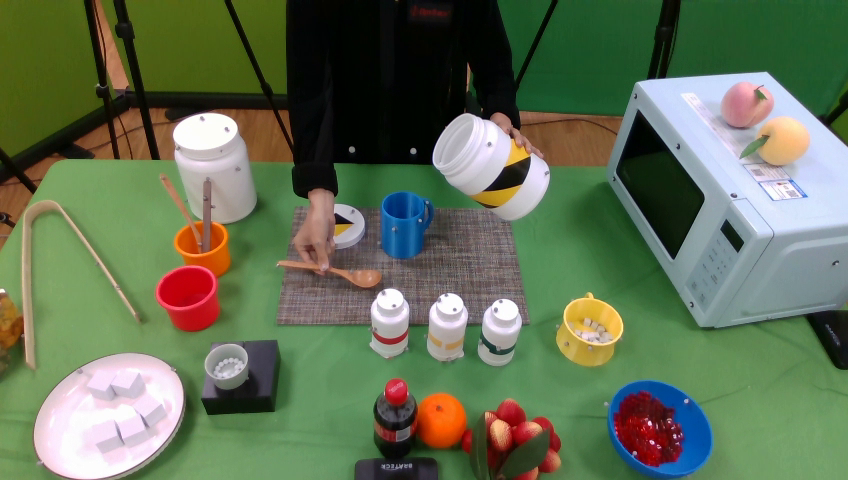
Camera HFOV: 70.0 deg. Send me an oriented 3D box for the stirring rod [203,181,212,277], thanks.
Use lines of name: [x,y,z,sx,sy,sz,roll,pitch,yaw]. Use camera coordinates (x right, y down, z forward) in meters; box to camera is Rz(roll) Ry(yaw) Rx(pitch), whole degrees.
stirring rod: [-0.396,-0.021,1.107,0.014,0.006,0.176,-1,89,-1]

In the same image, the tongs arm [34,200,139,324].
tongs arm: [-0.622,0.034,1.105,0.051,0.026,0.382,-32,55,-26]

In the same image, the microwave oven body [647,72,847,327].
microwave oven body: [0.607,-0.089,1.164,0.326,0.261,0.438,-7,46,-10]

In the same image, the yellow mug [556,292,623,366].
yellow mug: [0.285,0.145,1.051,0.100,0.064,0.130,7,45,3]

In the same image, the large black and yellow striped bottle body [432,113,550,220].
large black and yellow striped bottle body: [0.116,-0.130,1.074,0.185,0.131,0.130,30,38,-29]

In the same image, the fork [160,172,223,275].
fork: [-0.426,-0.030,1.103,0.028,0.018,0.207,-29,99,-20]

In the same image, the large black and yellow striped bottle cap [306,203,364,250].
large black and yellow striped bottle cap: [-0.178,-0.029,1.211,0.115,0.019,0.114,2,48,-2]

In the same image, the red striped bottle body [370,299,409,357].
red striped bottle body: [-0.057,0.135,0.997,0.063,0.120,0.062,2,47,-2]

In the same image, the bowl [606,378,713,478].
bowl: [0.340,0.292,0.906,0.151,0.077,0.150,2,46,-2]

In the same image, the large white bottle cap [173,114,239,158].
large white bottle cap: [-0.403,-0.195,1.122,0.115,0.018,0.114,2,47,-2]

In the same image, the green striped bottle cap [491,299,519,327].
green striped bottle cap: [0.128,0.115,0.958,0.044,0.020,0.044,1,46,0]

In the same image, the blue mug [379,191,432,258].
blue mug: [-0.031,-0.035,1.167,0.116,0.106,0.082,-27,54,-27]

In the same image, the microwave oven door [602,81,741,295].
microwave oven door: [0.456,-0.107,1.162,0.039,0.245,0.353,-7,47,-11]

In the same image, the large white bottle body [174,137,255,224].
large white bottle body: [-0.408,-0.136,1.183,0.131,0.185,0.130,2,46,-2]

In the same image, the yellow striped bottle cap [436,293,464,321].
yellow striped bottle cap: [0.041,0.106,0.959,0.044,0.019,0.044,0,50,1]

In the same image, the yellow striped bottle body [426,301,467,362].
yellow striped bottle body: [0.037,0.142,0.996,0.063,0.121,0.062,2,46,-2]

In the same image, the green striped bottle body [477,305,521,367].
green striped bottle body: [0.124,0.151,0.995,0.063,0.120,0.063,2,46,-2]

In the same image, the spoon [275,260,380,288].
spoon: [-0.176,0.056,1.103,0.194,0.022,0.041,13,52,-1]

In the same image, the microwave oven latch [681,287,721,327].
microwave oven latch: [0.494,0.119,1.087,0.030,0.029,0.078,-6,46,-9]

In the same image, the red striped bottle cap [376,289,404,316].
red striped bottle cap: [-0.054,0.098,0.958,0.044,0.018,0.044,0,48,0]

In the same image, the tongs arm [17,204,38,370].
tongs arm: [-0.698,0.069,1.068,0.028,0.028,0.385,-20,50,-13]

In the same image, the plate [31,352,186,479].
plate: [-0.459,0.262,0.898,0.209,0.038,0.208,2,46,-2]

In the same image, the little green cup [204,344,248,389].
little green cup: [-0.294,0.191,0.909,0.061,0.039,0.061,1,48,-1]
